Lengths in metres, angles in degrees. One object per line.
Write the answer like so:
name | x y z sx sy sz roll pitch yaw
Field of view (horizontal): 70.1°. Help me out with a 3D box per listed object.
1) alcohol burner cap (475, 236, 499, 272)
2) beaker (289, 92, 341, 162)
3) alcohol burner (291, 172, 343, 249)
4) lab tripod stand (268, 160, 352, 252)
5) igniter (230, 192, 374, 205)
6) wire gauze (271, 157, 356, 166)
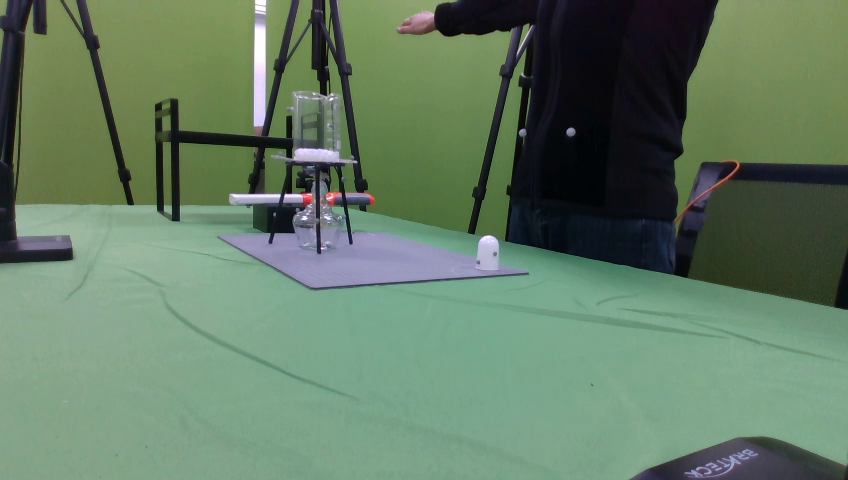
alcohol burner cap | 0.084 0.018 0.799 0.034 0.048 0.034 2 7 0
beaker | -0.160 -0.167 0.902 0.074 0.100 0.083 -3 9 -30
alcohol burner | -0.162 -0.045 0.922 0.078 0.119 0.078 5 7 0
lab tripod stand | -0.171 -0.055 0.921 0.148 0.131 0.148 1 8 0
igniter | -0.228 -0.079 1.164 0.278 0.025 0.057 -2 14 -30
wire gauze | -0.167 -0.120 0.917 0.125 0.011 0.121 -2 6 -9
